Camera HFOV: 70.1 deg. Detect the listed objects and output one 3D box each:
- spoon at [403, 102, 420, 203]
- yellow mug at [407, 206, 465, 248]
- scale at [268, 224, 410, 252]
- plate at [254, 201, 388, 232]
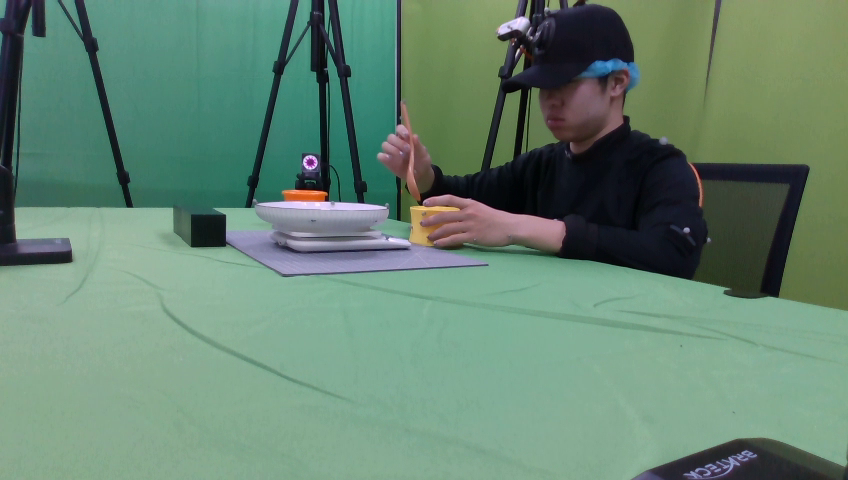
[{"bbox_3d":[-0.024,-0.161,1.108,0.022,0.193,0.041,-1,-13,-9],"label":"spoon"},{"bbox_3d":[0.027,-0.027,1.104,0.099,0.064,0.131,7,7,20],"label":"yellow mug"},{"bbox_3d":[-0.137,-0.006,0.979,0.202,0.031,0.148,-1,8,-30],"label":"scale"},{"bbox_3d":[-0.161,-0.038,0.961,0.209,0.038,0.209,2,6,0],"label":"plate"}]
